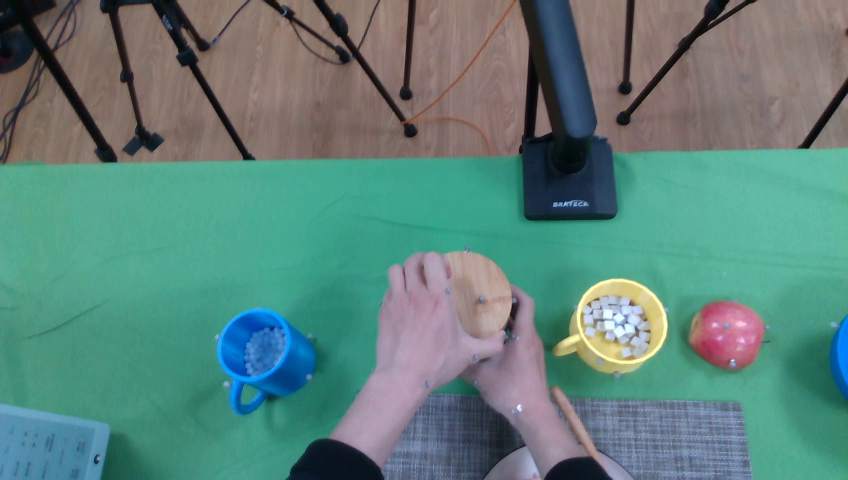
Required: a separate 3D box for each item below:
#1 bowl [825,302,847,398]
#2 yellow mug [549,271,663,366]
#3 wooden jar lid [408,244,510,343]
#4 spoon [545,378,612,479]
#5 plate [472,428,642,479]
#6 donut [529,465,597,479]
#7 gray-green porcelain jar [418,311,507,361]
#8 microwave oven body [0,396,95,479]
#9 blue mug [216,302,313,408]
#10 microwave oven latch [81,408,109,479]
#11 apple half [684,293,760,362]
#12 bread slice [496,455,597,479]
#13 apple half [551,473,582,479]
[{"bbox_3d":[0.508,0.133,0.663,0.151,0.077,0.150,-2,69,5],"label":"bowl"},{"bbox_3d":[0.208,0.100,0.711,0.131,0.064,0.099,-22,69,-3],"label":"yellow mug"},{"bbox_3d":[0.037,0.058,0.644,0.108,0.021,0.107,-2,67,6],"label":"wooden jar lid"},{"bbox_3d":[0.185,0.237,0.655,0.041,0.022,0.192,-28,78,1],"label":"spoon"},{"bbox_3d":[0.142,0.310,0.647,0.207,0.039,0.206,-2,69,5],"label":"plate"},{"bbox_3d":[0.146,0.284,0.626,0.099,0.048,0.098,-2,67,4],"label":"donut"},{"bbox_3d":[0.043,0.081,0.701,0.106,0.127,0.105,-2,68,5],"label":"gray-green porcelain jar"},{"bbox_3d":[-0.558,0.369,0.570,0.326,0.262,0.438,0,69,5],"label":"microwave oven body"},{"bbox_3d":[-0.191,0.141,0.711,0.082,0.106,0.116,20,72,13],"label":"blue mug"},{"bbox_3d":[-0.397,0.239,0.708,0.030,0.030,0.078,7,70,8],"label":"microwave oven latch"},{"bbox_3d":[0.350,0.097,0.706,0.074,0.054,0.080,21,73,15],"label":"apple half"},{"bbox_3d":[0.148,0.308,0.649,0.107,0.018,0.133,-16,69,1],"label":"bread slice"},{"bbox_3d":[0.138,0.273,0.595,0.081,0.033,0.080,-4,68,11],"label":"apple half"}]
